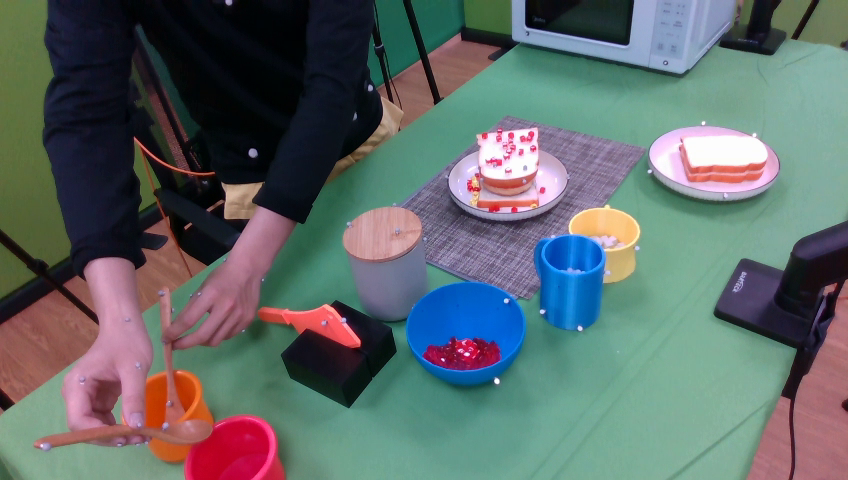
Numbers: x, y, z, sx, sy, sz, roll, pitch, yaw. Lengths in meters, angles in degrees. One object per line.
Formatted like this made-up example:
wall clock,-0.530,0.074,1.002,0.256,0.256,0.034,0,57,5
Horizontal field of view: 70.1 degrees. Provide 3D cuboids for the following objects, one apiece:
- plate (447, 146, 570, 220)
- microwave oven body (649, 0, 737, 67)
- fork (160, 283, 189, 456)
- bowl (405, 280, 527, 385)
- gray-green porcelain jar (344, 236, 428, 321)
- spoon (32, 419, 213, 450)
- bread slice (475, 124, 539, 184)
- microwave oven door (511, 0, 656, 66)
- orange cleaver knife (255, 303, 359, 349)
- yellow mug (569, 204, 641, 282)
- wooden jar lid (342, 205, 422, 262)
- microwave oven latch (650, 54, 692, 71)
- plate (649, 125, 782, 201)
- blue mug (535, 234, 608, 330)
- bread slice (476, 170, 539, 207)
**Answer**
plate,0.145,-0.098,1.046,0.209,0.038,0.208,-4,41,4
microwave oven body,0.475,-0.602,1.411,0.438,0.261,0.327,23,50,32
fork,-0.307,0.154,0.734,0.028,0.018,0.207,-9,82,1
bowl,0.055,0.131,0.767,0.151,0.077,0.150,-4,40,4
gray-green porcelain jar,-0.050,0.042,0.849,0.106,0.127,0.105,-4,41,4
spoon,-0.272,0.180,0.565,0.041,0.195,0.021,21,83,26
bread slice,0.143,-0.144,1.009,0.107,0.018,0.133,-8,46,7
microwave oven door,0.351,-0.539,1.348,0.353,0.245,0.039,24,50,31
orange cleaver knife,-0.161,0.115,0.813,0.210,0.077,0.012,-4,30,47
yellow mug,0.268,-0.005,0.904,0.099,0.064,0.130,7,41,15
wooden jar lid,-0.055,-0.005,0.808,0.108,0.021,0.108,-6,41,6
microwave oven latch,0.531,-0.386,1.301,0.078,0.029,0.030,25,51,33
plate,0.493,-0.127,1.036,0.207,0.039,0.206,-4,41,4
blue mug,0.191,0.048,0.824,0.082,0.106,0.115,-26,44,-21
bread slice,0.144,-0.103,1.059,0.105,0.019,0.131,-1,44,5
